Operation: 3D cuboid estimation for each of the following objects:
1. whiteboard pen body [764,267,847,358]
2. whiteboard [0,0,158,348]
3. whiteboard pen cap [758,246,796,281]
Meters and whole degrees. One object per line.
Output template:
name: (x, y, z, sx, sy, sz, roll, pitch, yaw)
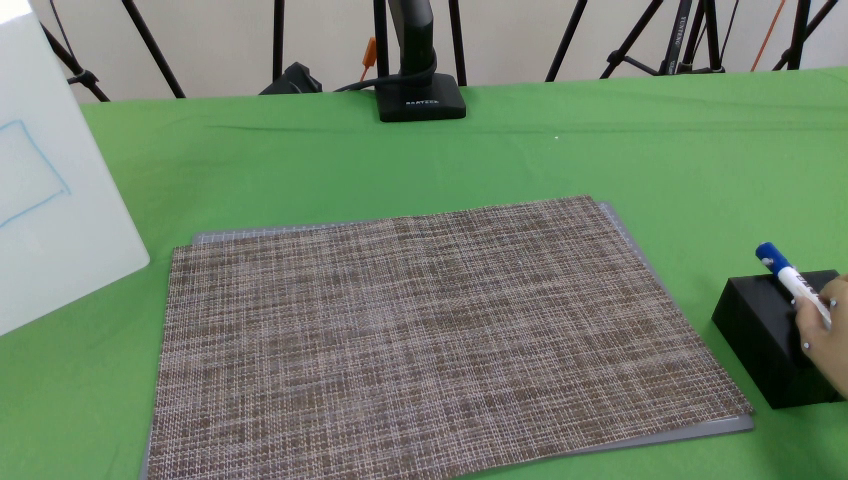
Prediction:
whiteboard pen body: (0.313, 0.062, 0.479, 0.017, 0.017, 0.139, -6, 33, -7)
whiteboard: (-0.412, -0.070, 0.516, 0.217, 0.308, 0.142, -31, 30, -33)
whiteboard pen cap: (0.306, 0.021, 0.523, 0.018, 0.018, 0.033, -7, 39, -9)
